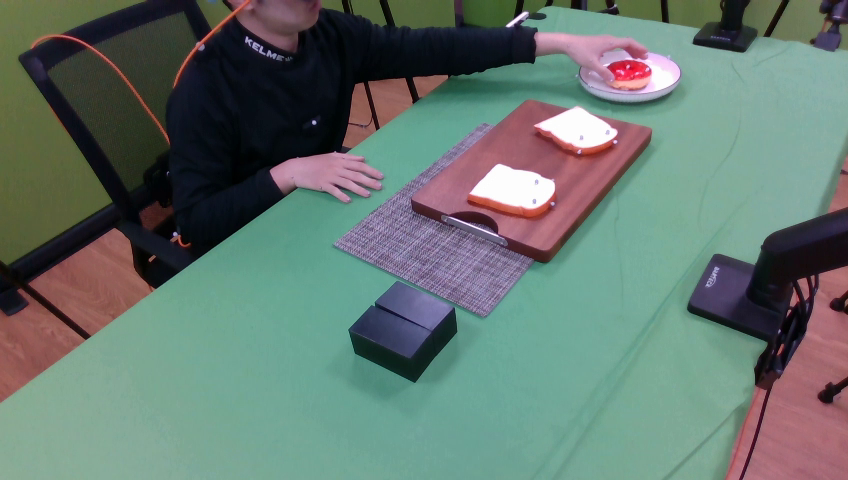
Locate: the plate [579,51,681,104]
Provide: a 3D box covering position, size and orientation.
[{"bbox_3d":[0.437,-0.343,1.294,0.209,0.038,0.208,-4,40,4],"label":"plate"}]

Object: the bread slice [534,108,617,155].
[{"bbox_3d":[0.289,-0.201,1.120,0.107,0.018,0.133,-27,43,-21],"label":"bread slice"}]

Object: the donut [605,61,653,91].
[{"bbox_3d":[0.434,-0.348,1.284,0.099,0.048,0.098,-5,36,4],"label":"donut"}]

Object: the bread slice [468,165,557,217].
[{"bbox_3d":[0.154,-0.083,1.004,0.130,0.019,0.105,18,48,29],"label":"bread slice"}]
